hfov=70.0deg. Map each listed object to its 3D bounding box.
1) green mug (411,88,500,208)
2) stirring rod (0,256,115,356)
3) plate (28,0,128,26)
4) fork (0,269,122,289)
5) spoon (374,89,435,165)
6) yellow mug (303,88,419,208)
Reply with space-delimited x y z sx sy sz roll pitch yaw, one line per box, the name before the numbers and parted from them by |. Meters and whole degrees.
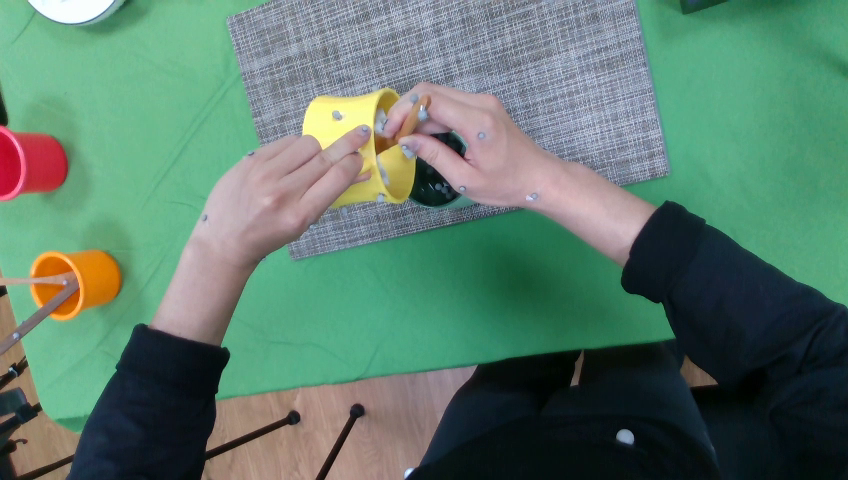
green mug | 0.027 -0.093 0.625 0.092 0.105 0.125 5 100 17
stirring rod | -0.484 0.085 0.801 0.014 0.006 0.175 38 66 8
plate | -0.432 -0.376 0.762 0.207 0.039 0.208 3 100 17
fork | -0.514 0.054 0.799 0.208 0.018 0.028 -1 98 -26
spoon | -0.021 -0.083 0.475 0.022 0.193 0.041 30 76 -15
yellow mug | -0.057 -0.073 0.524 0.064 0.130 0.100 -2 115 21
